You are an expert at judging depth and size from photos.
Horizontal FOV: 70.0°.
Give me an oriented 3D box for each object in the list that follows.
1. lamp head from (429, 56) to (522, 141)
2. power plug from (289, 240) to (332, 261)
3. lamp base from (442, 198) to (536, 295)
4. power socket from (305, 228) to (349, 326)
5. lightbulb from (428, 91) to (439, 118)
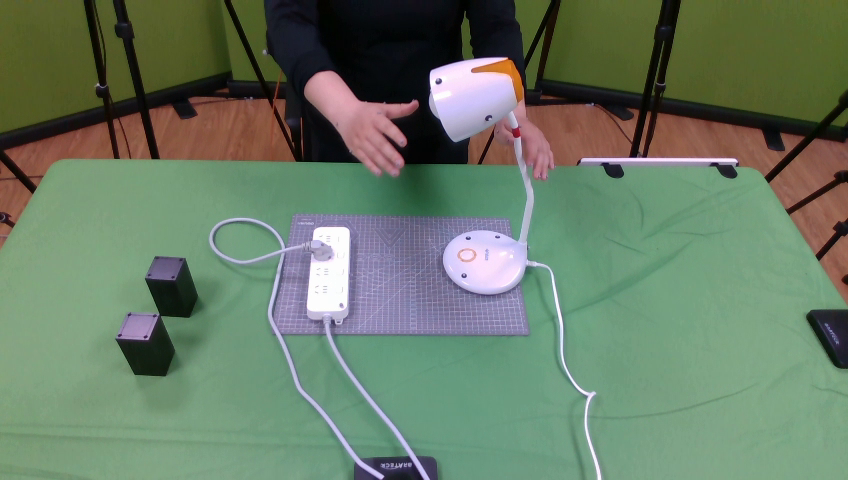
[{"bbox_3d":[0.082,-0.212,0.882,0.123,0.113,0.111,-13,44,14],"label":"lamp head"},{"bbox_3d":[-0.208,0.022,1.123,0.072,0.053,0.035,5,44,5],"label":"power plug"},{"bbox_3d":[0.131,-0.013,1.106,0.179,0.181,0.159,0,46,-8],"label":"lamp base"},{"bbox_3d":[-0.177,0.058,1.115,0.072,0.033,0.225,-1,46,-4],"label":"power socket"},{"bbox_3d":[0.057,-0.212,0.888,0.107,0.060,0.059,-12,41,23],"label":"lightbulb"}]
